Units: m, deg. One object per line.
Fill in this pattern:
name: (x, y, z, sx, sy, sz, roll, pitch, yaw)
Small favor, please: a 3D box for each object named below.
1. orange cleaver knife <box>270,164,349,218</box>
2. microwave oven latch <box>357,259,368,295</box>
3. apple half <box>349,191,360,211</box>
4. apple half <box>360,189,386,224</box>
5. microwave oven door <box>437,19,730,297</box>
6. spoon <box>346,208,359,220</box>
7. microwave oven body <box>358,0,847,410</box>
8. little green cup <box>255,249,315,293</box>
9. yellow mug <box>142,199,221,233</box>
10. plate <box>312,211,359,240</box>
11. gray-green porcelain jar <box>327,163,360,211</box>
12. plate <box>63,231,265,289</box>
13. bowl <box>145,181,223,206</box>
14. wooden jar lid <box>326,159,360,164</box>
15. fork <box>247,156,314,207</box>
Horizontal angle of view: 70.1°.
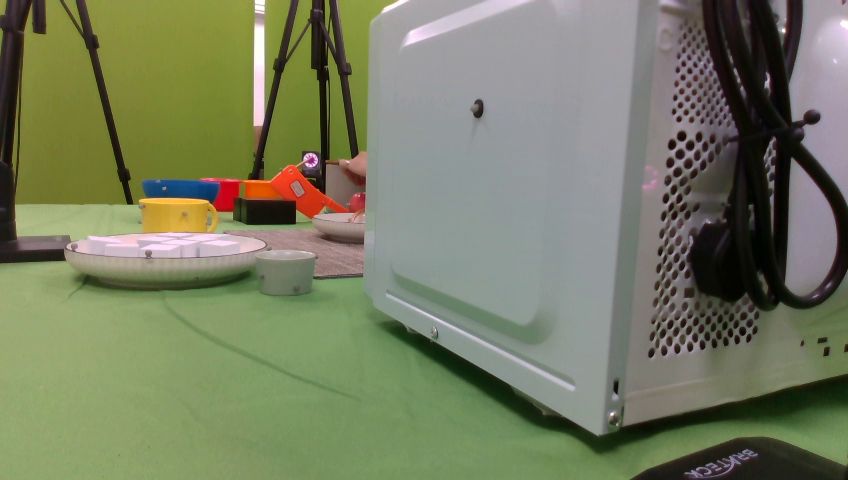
orange cleaver knife: (-0.240, -0.088, 1.329, 0.212, 0.077, 0.012, 36, -9, -33)
microwave oven latch: (-0.019, 0.031, 0.529, 0.079, 0.029, 0.030, -1, 7, -26)
apple half: (-0.130, -0.070, 1.289, 0.053, 0.074, 0.081, 3, 10, 33)
apple half: (-0.101, -0.068, 1.269, 0.032, 0.081, 0.081, 11, 11, 30)
microwave oven door: (0.180, -0.076, 0.618, 0.358, 0.243, 0.039, -2, 9, -28)
spoon: (-0.123, -0.047, 1.117, 0.041, 0.021, 0.194, -8, 17, 18)
microwave oven body: (0.210, -0.051, 0.471, 0.444, 0.260, 0.324, -1, 7, -28)
little green cup: (-0.144, 0.032, 0.627, 0.061, 0.038, 0.061, 2, 6, 0)
yellow mug: (-0.373, -0.030, 0.948, 0.099, 0.064, 0.131, 6, 7, 30)
plate: (-0.091, -0.026, 1.063, 0.209, 0.038, 0.209, 2, 7, 0)
gray-green porcelain jar: (-0.187, -0.125, 1.490, 0.106, 0.126, 0.106, 2, 8, 0)
plate: (-0.288, 0.021, 0.687, 0.208, 0.039, 0.207, 2, 8, 0)
bowl: (-0.499, -0.081, 1.261, 0.151, 0.077, 0.151, 2, 8, 0)
wooden jar lid: (-0.185, -0.187, 1.481, 0.108, 0.020, 0.108, 3, 6, 0)
fork: (-0.360, -0.147, 1.522, 0.207, 0.018, 0.028, -43, 11, -7)
